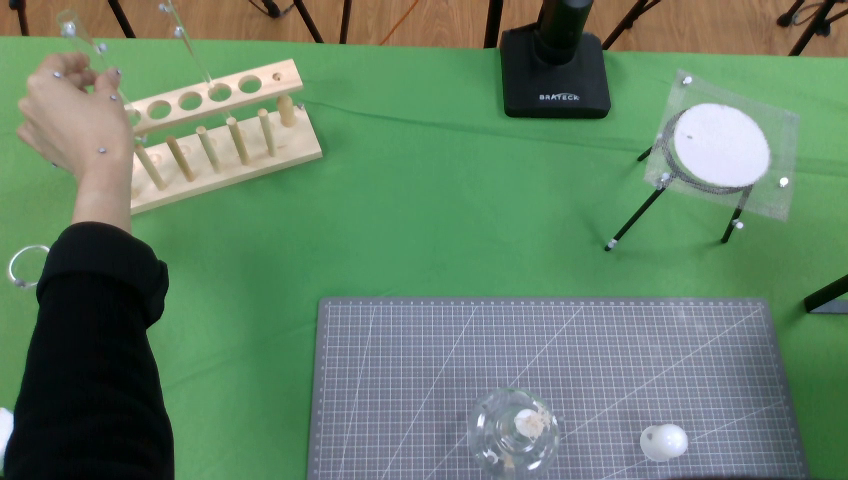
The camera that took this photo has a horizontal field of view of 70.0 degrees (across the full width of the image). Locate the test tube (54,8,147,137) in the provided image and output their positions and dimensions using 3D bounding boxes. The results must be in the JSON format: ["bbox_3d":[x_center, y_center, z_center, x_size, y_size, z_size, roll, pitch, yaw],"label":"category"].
[{"bbox_3d":[-0.278,-0.140,0.532,0.017,0.151,0.017,1,63,-1],"label":"test tube"}]

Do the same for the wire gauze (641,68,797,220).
[{"bbox_3d":[0.263,-0.086,0.531,0.121,0.011,0.124,21,68,4],"label":"wire gauze"}]

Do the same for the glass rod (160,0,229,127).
[{"bbox_3d":[-0.209,-0.158,0.565,0.008,0.201,0.008,-2,60,3],"label":"glass rod"}]

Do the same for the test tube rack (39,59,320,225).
[{"bbox_3d":[-0.235,-0.098,0.611,0.243,0.086,0.066,-19,69,-11],"label":"test tube rack"}]

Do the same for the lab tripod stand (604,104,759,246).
[{"bbox_3d":[0.253,-0.057,0.592,0.148,0.132,0.147,2,65,-4],"label":"lab tripod stand"}]

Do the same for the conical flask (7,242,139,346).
[{"bbox_3d":[-0.307,0.042,0.525,0.075,0.122,0.075,1,65,-2],"label":"conical flask"}]

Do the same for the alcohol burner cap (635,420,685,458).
[{"bbox_3d":[0.211,0.174,0.536,0.034,0.048,0.033,1,66,-2],"label":"alcohol burner cap"}]

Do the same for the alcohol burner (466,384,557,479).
[{"bbox_3d":[0.075,0.154,0.498,0.078,0.120,0.077,2,65,-4],"label":"alcohol burner"}]

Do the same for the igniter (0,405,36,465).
[{"bbox_3d":[-0.396,0.244,0.433,0.057,0.025,0.275,27,67,19],"label":"igniter"}]
